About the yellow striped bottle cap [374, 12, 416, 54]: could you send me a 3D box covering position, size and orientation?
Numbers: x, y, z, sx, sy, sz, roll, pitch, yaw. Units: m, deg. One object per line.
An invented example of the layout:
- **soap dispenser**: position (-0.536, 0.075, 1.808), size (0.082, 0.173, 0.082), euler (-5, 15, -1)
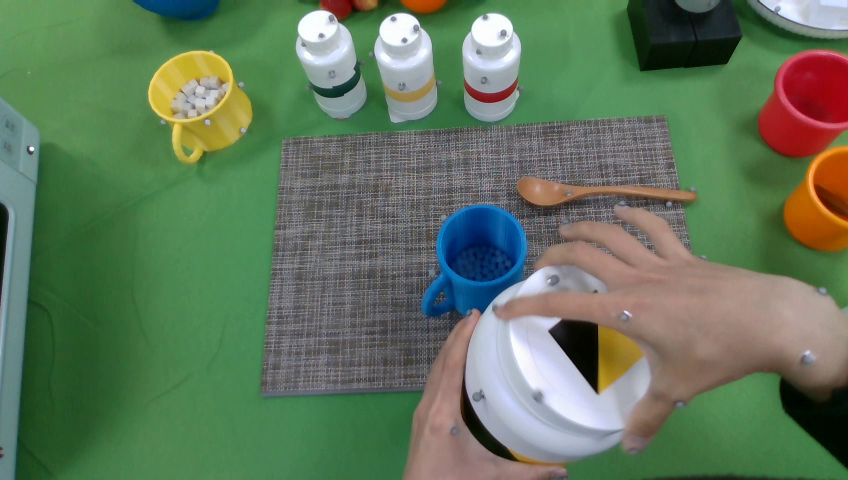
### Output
- **yellow striped bottle cap**: position (-0.030, -0.217, 0.635), size (0.044, 0.019, 0.044), euler (0, 65, 0)

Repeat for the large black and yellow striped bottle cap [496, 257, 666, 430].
- **large black and yellow striped bottle cap**: position (0.104, 0.065, 0.398), size (0.115, 0.019, 0.114), euler (7, 63, -13)

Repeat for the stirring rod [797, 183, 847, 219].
- **stirring rod**: position (0.403, -0.023, 0.570), size (0.014, 0.006, 0.175), euler (0, 25, 2)

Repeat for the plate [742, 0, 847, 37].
- **plate**: position (0.475, -0.329, 0.739), size (0.209, 0.038, 0.207), euler (-1, 69, 4)

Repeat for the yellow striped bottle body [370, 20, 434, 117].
- **yellow striped bottle body**: position (-0.025, -0.198, 0.683), size (0.063, 0.121, 0.062), euler (-2, 67, 5)

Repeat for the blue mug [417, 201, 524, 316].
- **blue mug**: position (0.040, 0.031, 0.590), size (0.116, 0.106, 0.082), euler (-38, 69, -10)

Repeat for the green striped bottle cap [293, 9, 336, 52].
- **green striped bottle cap**: position (-0.117, -0.223, 0.645), size (0.044, 0.020, 0.044), euler (-1, 68, 2)

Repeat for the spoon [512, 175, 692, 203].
- **spoon**: position (0.193, -0.054, 0.656), size (0.193, 0.022, 0.041), euler (1, 47, 5)

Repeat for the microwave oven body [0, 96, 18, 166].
- **microwave oven body**: position (-0.602, 0.041, 0.555), size (0.326, 0.262, 0.438), euler (-11, 68, 0)

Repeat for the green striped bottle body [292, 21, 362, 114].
- **green striped bottle body**: position (-0.111, -0.203, 0.693), size (0.063, 0.120, 0.062), euler (-1, 68, 4)

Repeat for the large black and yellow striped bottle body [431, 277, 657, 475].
- **large black and yellow striped bottle body**: position (0.087, 0.105, 0.471), size (0.131, 0.185, 0.129), euler (6, 61, -11)

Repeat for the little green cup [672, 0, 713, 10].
- **little green cup**: position (0.307, -0.293, 0.683), size (0.061, 0.039, 0.061), euler (-1, 66, 3)

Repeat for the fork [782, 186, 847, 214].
- **fork**: position (0.432, -0.023, 0.559), size (0.028, 0.019, 0.205), euler (-30, 24, -15)

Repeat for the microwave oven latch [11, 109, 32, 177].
- **microwave oven latch**: position (-0.481, -0.112, 0.710), size (0.030, 0.030, 0.078), euler (-10, 68, 0)

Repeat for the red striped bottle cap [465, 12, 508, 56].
- **red striped bottle cap**: position (0.065, -0.213, 0.625), size (0.044, 0.018, 0.044), euler (0, 66, 1)

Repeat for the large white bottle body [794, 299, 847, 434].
- **large white bottle body**: position (0.410, 0.093, 0.495), size (0.130, 0.186, 0.129), euler (-2, 67, 4)

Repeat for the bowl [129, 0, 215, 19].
- **bowl**: position (-0.322, -0.345, 0.790), size (0.151, 0.077, 0.150), euler (-1, 68, 4)

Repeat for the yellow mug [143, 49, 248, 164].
- **yellow mug**: position (-0.271, -0.152, 0.714), size (0.100, 0.064, 0.130), euler (6, 69, 7)

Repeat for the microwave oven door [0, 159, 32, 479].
- **microwave oven door**: position (-0.452, 0.049, 0.534), size (0.039, 0.245, 0.353), euler (-12, 67, 1)

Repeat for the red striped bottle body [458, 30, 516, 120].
- **red striped bottle body**: position (0.069, -0.193, 0.674), size (0.063, 0.120, 0.062), euler (-2, 67, 5)
